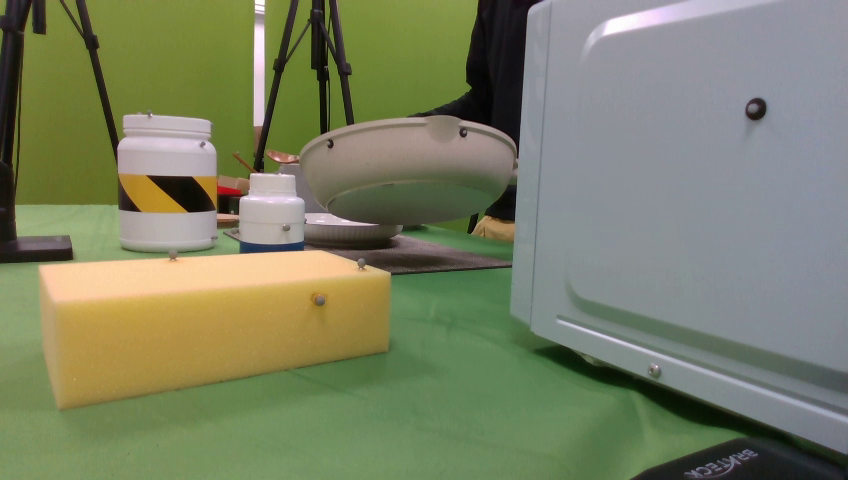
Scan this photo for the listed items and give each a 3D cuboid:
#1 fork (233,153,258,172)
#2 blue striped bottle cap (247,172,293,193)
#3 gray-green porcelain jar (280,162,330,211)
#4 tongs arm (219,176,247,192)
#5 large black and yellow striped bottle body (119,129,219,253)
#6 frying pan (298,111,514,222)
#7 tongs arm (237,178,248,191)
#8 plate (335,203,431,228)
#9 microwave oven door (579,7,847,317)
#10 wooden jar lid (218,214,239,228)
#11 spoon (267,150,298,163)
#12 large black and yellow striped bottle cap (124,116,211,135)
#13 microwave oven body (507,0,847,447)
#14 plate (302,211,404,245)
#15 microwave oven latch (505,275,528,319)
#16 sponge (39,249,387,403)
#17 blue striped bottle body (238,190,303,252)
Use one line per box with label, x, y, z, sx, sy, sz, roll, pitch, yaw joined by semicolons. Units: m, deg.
fork;-0.396;-0.143;1.486;0.028;0.018;0.208;21;-26;45
blue striped bottle cap;-0.152;-0.057;0.598;0.044;0.020;0.044;3;6;0
gray-green porcelain jar;-0.238;-0.092;1.221;0.106;0.126;0.106;2;8;0
tongs arm;-0.286;-0.104;1.445;0.389;0.027;0.028;9;-4;-23
large black and yellow striped bottle body;-0.367;-0.080;0.876;0.131;0.184;0.130;2;7;0
frying pan;0.078;-0.099;0.843;0.490;0.102;0.306;-9;-8;-18
tongs arm;-0.242;-0.095;1.374;0.387;0.026;0.050;9;0;-37
plate;-0.089;-0.053;1.309;0.208;0.039;0.207;2;8;0
microwave oven door;0.294;-0.067;0.570;0.358;0.243;0.039;-3;9;-31
wooden jar lid;-0.404;-0.037;1.169;0.108;0.020;0.108;3;7;0
spoon;-0.217;-0.164;1.219;0.194;0.021;0.041;1;31;-12
large black and yellow striped bottle cap;-0.366;-0.163;0.866;0.115;0.019;0.115;3;7;0
microwave oven body;0.331;-0.042;0.425;0.444;0.260;0.324;-2;8;-31
plate;-0.139;-0.022;1.021;0.209;0.038;0.209;2;8;0
microwave oven latch;0.100;0.042;0.471;0.079;0.029;0.030;-1;7;-29
sponge;-0.142;0.047;0.420;0.208;0.061;0.117;-3;8;-36
blue striped bottle body;-0.153;-0.007;0.606;0.063;0.120;0.063;2;8;0
